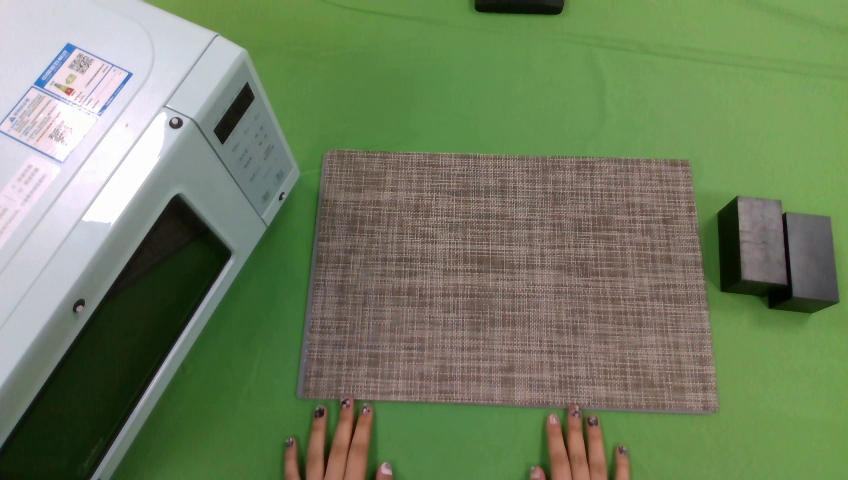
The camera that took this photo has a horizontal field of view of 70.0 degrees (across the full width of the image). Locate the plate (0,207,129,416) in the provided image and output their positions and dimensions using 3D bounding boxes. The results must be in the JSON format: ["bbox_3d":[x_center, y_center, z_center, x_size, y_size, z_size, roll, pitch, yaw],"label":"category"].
[{"bbox_3d":[-0.384,0.068,0.594,0.209,0.038,0.207,-3,68,7],"label":"plate"}]

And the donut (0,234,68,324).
[{"bbox_3d":[-0.412,0.038,0.609,0.099,0.048,0.098,2,56,-3],"label":"donut"}]

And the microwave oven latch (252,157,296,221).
[{"bbox_3d":[-0.178,-0.063,0.701,0.030,0.029,0.079,26,73,8],"label":"microwave oven latch"}]

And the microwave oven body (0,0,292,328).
[{"bbox_3d":[-0.390,-0.009,0.577,0.325,0.261,0.440,25,73,7],"label":"microwave oven body"}]

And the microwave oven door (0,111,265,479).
[{"bbox_3d":[-0.277,0.086,0.540,0.039,0.245,0.354,25,72,9],"label":"microwave oven door"}]
